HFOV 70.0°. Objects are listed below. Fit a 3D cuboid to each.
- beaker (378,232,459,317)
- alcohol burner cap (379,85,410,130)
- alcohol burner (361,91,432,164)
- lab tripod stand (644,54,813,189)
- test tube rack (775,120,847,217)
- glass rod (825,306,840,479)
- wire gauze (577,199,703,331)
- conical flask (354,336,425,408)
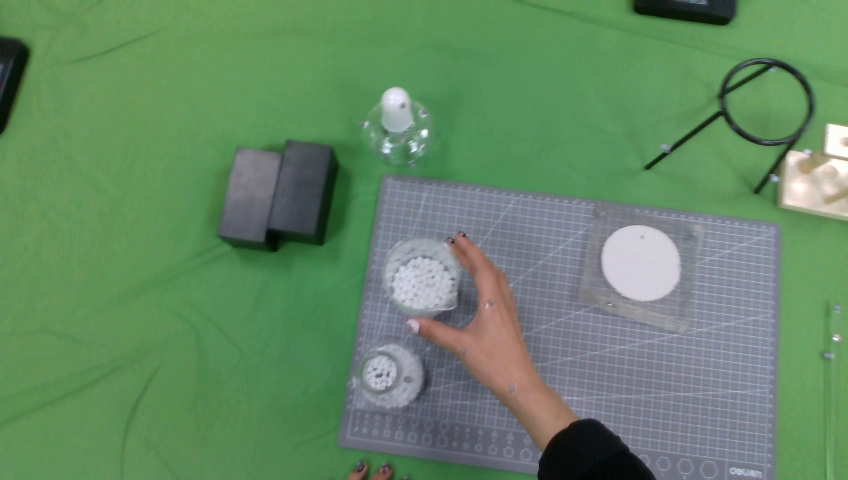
[{"bbox_3d":[-0.001,0.041,0.615,0.083,0.100,0.074,44,81,9],"label":"beaker"},{"bbox_3d":[-0.031,-0.137,0.613,0.034,0.048,0.033,0,71,-1],"label":"alcohol burner cap"},{"bbox_3d":[-0.031,-0.127,0.648,0.078,0.119,0.077,0,78,3],"label":"alcohol burner"},{"bbox_3d":[0.320,-0.119,0.634,0.148,0.132,0.148,0,79,1],"label":"lab tripod stand"},{"bbox_3d":[0.520,-0.059,0.643,0.242,0.085,0.066,11,77,3],"label":"test tube rack"},{"bbox_3d":[0.428,0.167,0.635,0.008,0.008,0.199,9,81,2],"label":"glass rod"},{"bbox_3d":[0.238,0.024,0.665,0.125,0.011,0.121,16,78,1],"label":"wire gauze"},{"bbox_3d":[-0.037,0.126,0.586,0.075,0.122,0.075,0,77,0],"label":"conical flask"}]
